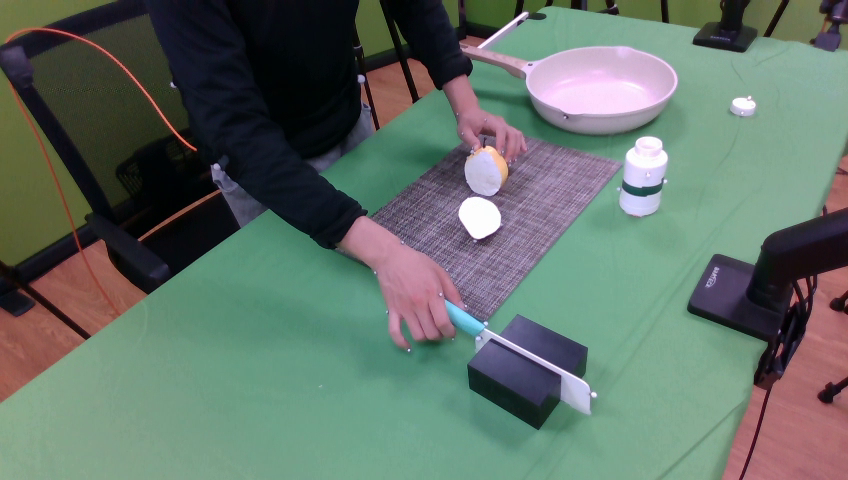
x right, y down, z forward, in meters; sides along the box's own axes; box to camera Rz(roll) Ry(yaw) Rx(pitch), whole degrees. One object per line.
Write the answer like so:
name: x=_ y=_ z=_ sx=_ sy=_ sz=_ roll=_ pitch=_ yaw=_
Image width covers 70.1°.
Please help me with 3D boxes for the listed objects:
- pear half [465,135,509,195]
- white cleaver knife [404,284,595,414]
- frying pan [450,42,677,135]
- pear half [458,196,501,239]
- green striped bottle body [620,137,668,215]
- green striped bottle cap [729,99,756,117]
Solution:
pear half: x=0.111 y=-0.137 z=1.038 sx=0.076 sy=0.110 sz=0.056 roll=16 pitch=45 yaw=18
white cleaver knife: x=0.083 y=0.135 z=0.764 sx=0.284 sy=0.066 sz=0.021 roll=28 pitch=46 yaw=31
frying pan: x=0.268 y=-0.344 z=1.267 sx=0.485 sy=0.103 sz=0.307 roll=25 pitch=49 yaw=21
pear half: x=0.087 y=-0.030 z=0.975 sx=0.070 sy=0.031 sz=0.088 roll=14 pitch=55 yaw=0
green striped bottle body: x=0.350 y=-0.103 z=0.963 sx=0.063 sy=0.120 sz=0.063 roll=-4 pitch=41 yaw=4
green striped bottle cap: x=0.623 y=-0.259 z=1.182 sx=0.044 sy=0.020 sz=0.044 roll=-3 pitch=40 yaw=3
